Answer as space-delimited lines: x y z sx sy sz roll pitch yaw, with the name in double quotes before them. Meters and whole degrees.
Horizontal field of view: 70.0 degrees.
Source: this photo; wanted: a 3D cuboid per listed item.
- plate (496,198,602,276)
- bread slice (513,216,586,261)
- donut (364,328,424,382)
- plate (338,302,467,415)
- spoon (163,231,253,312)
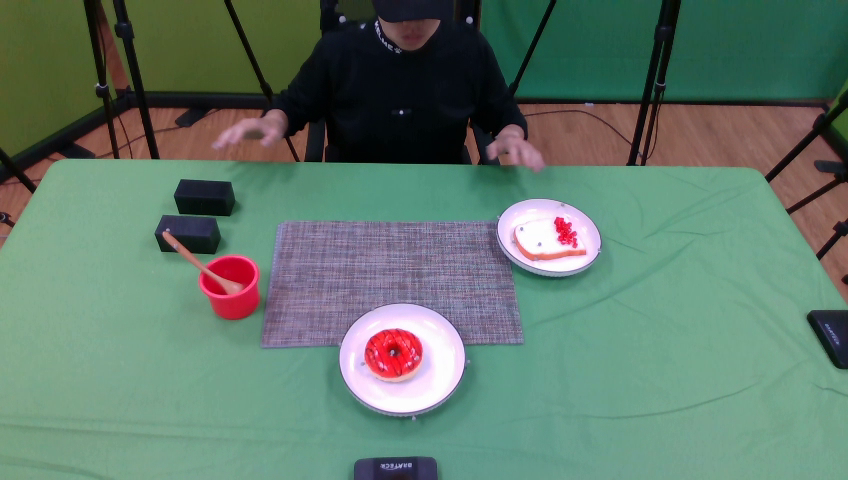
"plate" 0.246 -0.002 1.205 0.209 0.038 0.208 2 45 -2
"bread slice" 0.247 -0.003 1.209 0.132 0.019 0.104 -9 47 -13
"donut" -0.049 0.185 0.983 0.099 0.048 0.098 1 45 -1
"plate" -0.035 0.194 0.992 0.208 0.039 0.206 2 48 -2
"spoon" -0.364 0.054 1.025 0.194 0.021 0.041 43 49 -17
